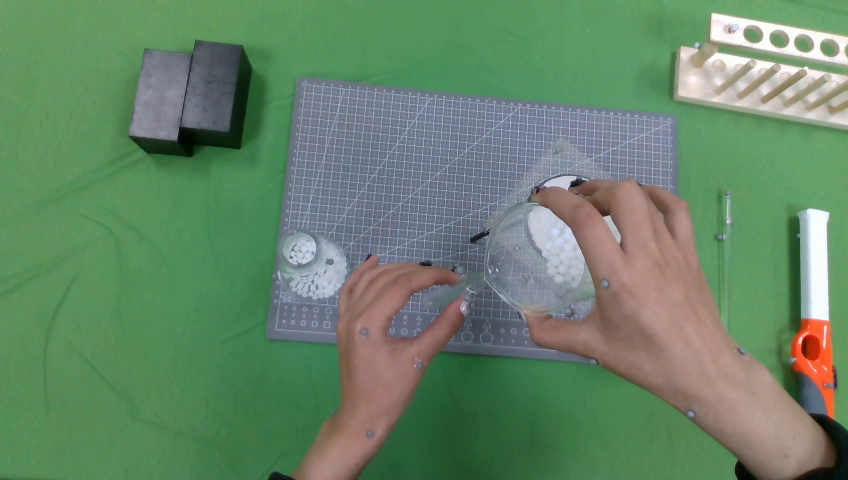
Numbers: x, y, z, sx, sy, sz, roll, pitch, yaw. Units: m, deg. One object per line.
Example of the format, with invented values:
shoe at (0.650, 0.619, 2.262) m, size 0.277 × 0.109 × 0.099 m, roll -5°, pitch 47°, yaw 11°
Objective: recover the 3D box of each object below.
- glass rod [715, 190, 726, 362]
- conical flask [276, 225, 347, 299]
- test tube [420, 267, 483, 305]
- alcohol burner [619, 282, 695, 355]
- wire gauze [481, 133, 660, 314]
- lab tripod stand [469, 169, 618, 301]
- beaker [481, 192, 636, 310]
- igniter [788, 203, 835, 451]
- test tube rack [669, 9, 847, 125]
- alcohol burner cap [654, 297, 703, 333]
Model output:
glass rod at (0.340, 0.040, 0.694) m, size 0.008 × 0.008 × 0.199 m, roll 6°, pitch 82°, yaw -4°
conical flask at (-0.117, 0.016, 0.600) m, size 0.075 × 0.122 × 0.075 m, roll 1°, pitch 79°, yaw -4°
test tube at (0.019, 0.040, 0.492) m, size 0.017 × 0.150 × 0.017 m, roll 2°, pitch 79°, yaw -12°
alcohol burner at (0.247, 0.079, 0.622) m, size 0.078 × 0.119 × 0.077 m, roll 0°, pitch 78°, yaw -1°
wire gauze at (0.134, -0.019, 0.553) m, size 0.125 × 0.011 × 0.121 m, roll 42°, pitch 80°, yaw 4°
lab tripod stand at (0.127, -0.009, 0.619) m, size 0.148 × 0.132 × 0.148 m, roll 1°, pitch 81°, yaw -3°
beaker at (0.098, 0.008, 0.427) m, size 0.101 × 0.084 × 0.073 m, roll -4°, pitch 73°, yaw -51°
igniter at (0.435, 0.094, 0.681) m, size 0.057 × 0.025 × 0.275 m, roll 9°, pitch 79°, yaw -14°
test tube rack at (0.423, -0.197, 0.704) m, size 0.242 × 0.085 × 0.066 m, roll 9°, pitch 79°, yaw -3°
alcohol burner cap at (0.250, 0.070, 0.587) m, size 0.034 × 0.048 × 0.033 m, roll 2°, pitch 73°, yaw -7°
